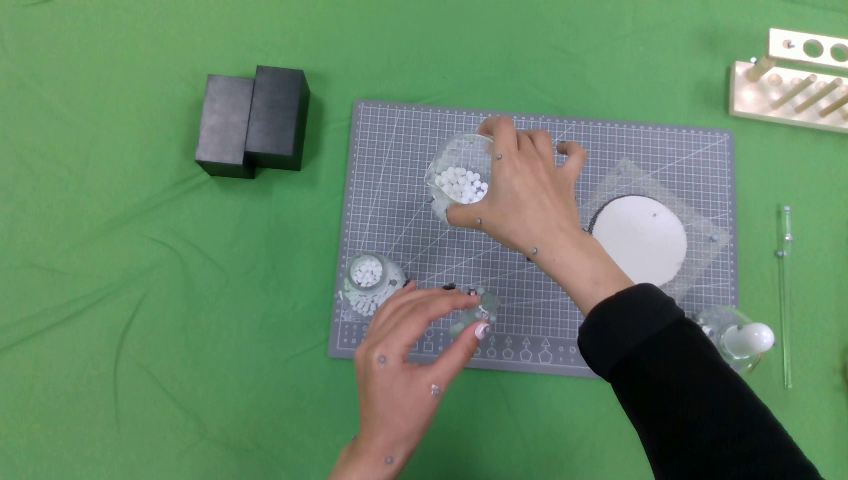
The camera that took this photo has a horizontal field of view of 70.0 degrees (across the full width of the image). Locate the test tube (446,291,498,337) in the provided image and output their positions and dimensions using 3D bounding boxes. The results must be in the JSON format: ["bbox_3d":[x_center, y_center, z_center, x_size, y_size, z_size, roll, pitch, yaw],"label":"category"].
[{"bbox_3d":[0.036,0.063,0.495,0.017,0.150,0.017,2,74,-7],"label":"test tube"}]

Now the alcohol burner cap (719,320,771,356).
[{"bbox_3d":[0.311,0.092,0.580,0.034,0.048,0.033,2,72,-5],"label":"alcohol burner cap"}]

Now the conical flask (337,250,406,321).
[{"bbox_3d":[-0.056,0.040,0.609,0.075,0.122,0.075,0,78,-2],"label":"conical flask"}]

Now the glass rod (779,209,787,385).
[{"bbox_3d":[0.405,0.062,0.683,0.008,0.008,0.199,6,81,-1],"label":"glass rod"}]

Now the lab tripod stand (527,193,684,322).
[{"bbox_3d":[0.189,0.014,0.618,0.148,0.132,0.148,0,80,0],"label":"lab tripod stand"}]

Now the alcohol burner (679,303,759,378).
[{"bbox_3d":[0.309,0.101,0.615,0.078,0.119,0.077,0,77,1],"label":"alcohol burner"}]

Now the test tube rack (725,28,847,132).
[{"bbox_3d":[0.487,-0.174,0.694,0.242,0.085,0.066,8,78,0],"label":"test tube rack"}]

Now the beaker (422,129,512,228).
[{"bbox_3d":[0.037,-0.055,0.597,0.084,0.100,0.073,-12,79,-5],"label":"beaker"}]

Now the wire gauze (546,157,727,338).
[{"bbox_3d":[0.193,0.003,0.552,0.125,0.011,0.121,41,81,6],"label":"wire gauze"}]
